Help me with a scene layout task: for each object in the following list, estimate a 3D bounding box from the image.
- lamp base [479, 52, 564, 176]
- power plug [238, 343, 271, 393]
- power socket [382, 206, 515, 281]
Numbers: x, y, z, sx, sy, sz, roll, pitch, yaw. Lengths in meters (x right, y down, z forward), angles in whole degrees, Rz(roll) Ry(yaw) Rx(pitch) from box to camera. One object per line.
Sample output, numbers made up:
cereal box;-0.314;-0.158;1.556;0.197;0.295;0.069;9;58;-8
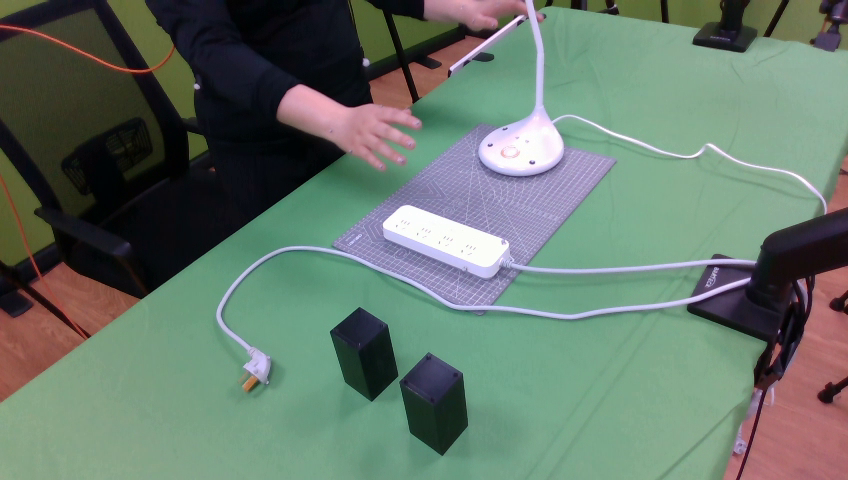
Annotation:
lamp base;0.181;-0.235;1.094;0.159;0.181;0.179;18;44;27
power plug;-0.230;0.172;0.801;0.072;0.035;0.053;9;50;49
power socket;0.032;0.002;0.950;0.225;0.033;0.072;21;49;29
